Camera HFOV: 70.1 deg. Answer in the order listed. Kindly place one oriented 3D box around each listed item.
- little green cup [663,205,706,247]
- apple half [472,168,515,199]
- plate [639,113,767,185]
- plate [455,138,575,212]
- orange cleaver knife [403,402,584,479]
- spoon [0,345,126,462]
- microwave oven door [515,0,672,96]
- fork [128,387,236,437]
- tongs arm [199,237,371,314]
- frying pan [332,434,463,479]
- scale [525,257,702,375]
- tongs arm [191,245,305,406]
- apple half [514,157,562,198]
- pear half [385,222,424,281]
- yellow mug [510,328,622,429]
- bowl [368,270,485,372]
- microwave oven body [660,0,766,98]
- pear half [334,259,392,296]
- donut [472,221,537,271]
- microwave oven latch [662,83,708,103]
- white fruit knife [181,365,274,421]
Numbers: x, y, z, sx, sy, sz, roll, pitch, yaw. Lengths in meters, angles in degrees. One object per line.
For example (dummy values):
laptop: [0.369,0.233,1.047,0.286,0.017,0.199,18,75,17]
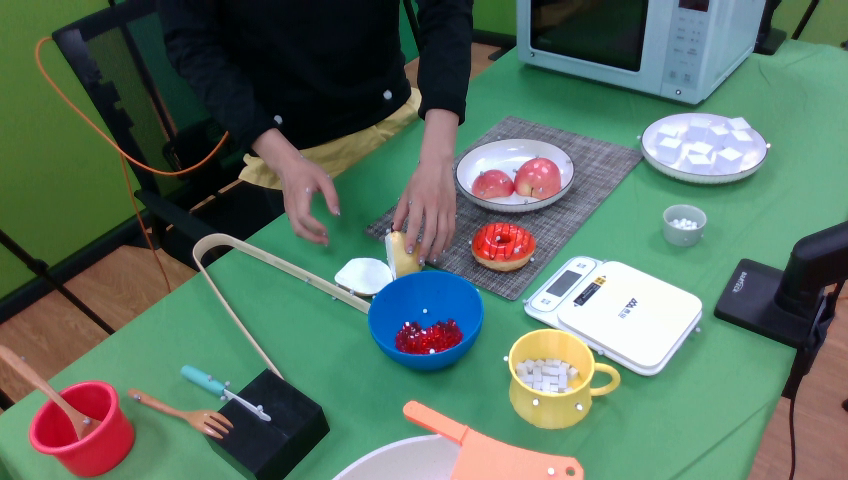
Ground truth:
little green cup: [0.396,-0.020,0.926,0.061,0.039,0.061,-4,40,4]
apple half: [0.119,-0.106,1.056,0.081,0.033,0.081,-4,40,3]
plate: [0.489,-0.157,1.074,0.207,0.039,0.206,-4,40,4]
plate: [0.159,-0.111,1.063,0.209,0.038,0.208,-4,40,4]
orange cleaver knife: [0.062,0.222,0.609,0.210,0.012,0.077,15,48,25]
spoon: [-0.434,0.192,0.720,0.194,0.021,0.042,47,53,-7]
microwave oven door: [0.343,-0.455,1.259,0.353,0.245,0.039,26,51,33]
fork: [-0.305,0.207,0.744,0.206,0.019,0.028,3,41,36]
tongs arm: [-0.209,0.063,0.924,0.382,0.027,0.051,22,54,32]
frying pan: [-0.089,0.306,0.564,0.487,0.103,0.306,10,41,7]
scale: [0.254,0.091,0.821,0.199,0.032,0.149,28,51,35]
tongs arm: [-0.268,0.113,0.883,0.028,0.028,0.384,-37,47,-17]
apple half: [0.196,-0.113,1.032,0.080,0.053,0.075,16,44,30]
pear half: [-0.030,0.013,0.896,0.056,0.110,0.075,-17,45,-13]
yellow mug: [0.168,0.164,0.721,0.130,0.064,0.099,0,40,8]
bowl: [0.007,0.118,0.791,0.151,0.077,0.150,-5,40,4]
microwave oven body: [0.472,-0.513,1.317,0.438,0.261,0.327,26,51,34]
pear half: [-0.092,0.062,0.906,0.088,0.031,0.070,-9,42,-22]
donut: [0.123,0.008,0.923,0.099,0.048,0.098,-3,38,3]
microwave oven latch: [0.518,-0.296,1.204,0.078,0.029,0.030,28,52,35]
white fruit knife: [-0.245,0.187,0.747,0.205,0.027,0.016,9,41,40]
